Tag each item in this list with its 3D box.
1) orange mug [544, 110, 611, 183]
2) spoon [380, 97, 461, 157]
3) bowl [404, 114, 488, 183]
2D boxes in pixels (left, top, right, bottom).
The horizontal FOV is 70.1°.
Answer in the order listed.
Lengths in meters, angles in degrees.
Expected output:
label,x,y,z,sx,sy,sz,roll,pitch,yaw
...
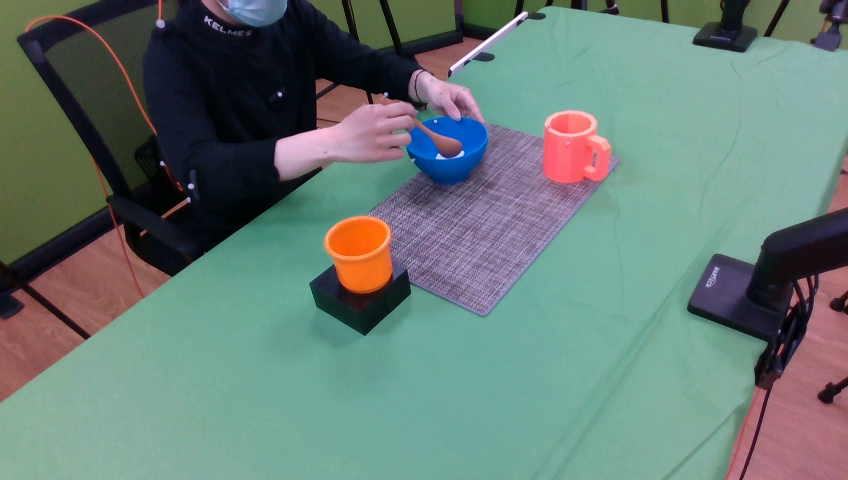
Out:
label,x,y,z,sx,sy,sz,roll,pitch,yaw
orange mug,0.266,-0.157,1.049,0.084,0.101,0.125,-33,42,-26
spoon,-0.003,-0.187,1.005,0.041,0.195,0.021,-56,39,10
bowl,0.043,-0.156,1.095,0.151,0.077,0.150,-4,41,4
